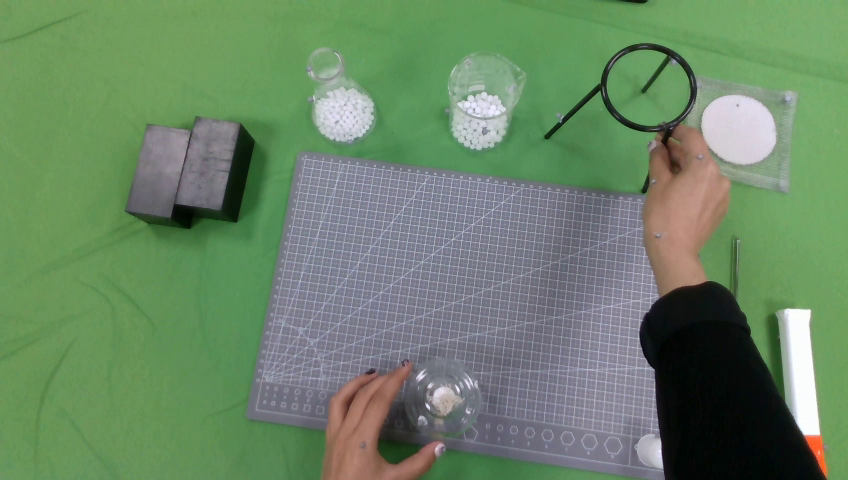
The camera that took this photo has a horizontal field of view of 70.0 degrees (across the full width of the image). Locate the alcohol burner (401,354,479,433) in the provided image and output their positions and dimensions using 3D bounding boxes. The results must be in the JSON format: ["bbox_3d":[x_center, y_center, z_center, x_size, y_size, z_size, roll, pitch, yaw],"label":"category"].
[{"bbox_3d":[0.016,0.148,0.586,0.078,0.119,0.077,0,76,0],"label":"alcohol burner"}]

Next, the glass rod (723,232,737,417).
[{"bbox_3d":[0.329,0.088,0.649,0.008,0.008,0.199,8,79,2],"label":"glass rod"}]

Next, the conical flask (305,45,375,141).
[{"bbox_3d":[-0.095,-0.161,0.648,0.075,0.122,0.075,0,78,1],"label":"conical flask"}]

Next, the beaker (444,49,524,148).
[{"bbox_3d":[0.062,-0.149,0.655,0.084,0.100,0.073,-18,78,-3],"label":"beaker"}]

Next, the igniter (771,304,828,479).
[{"bbox_3d":[0.382,0.203,0.615,0.057,0.025,0.275,3,79,-9],"label":"igniter"}]

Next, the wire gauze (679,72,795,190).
[{"bbox_3d":[0.358,-0.128,0.693,0.125,0.011,0.121,13,80,2],"label":"wire gauze"}]

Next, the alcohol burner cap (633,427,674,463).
[{"bbox_3d":[0.232,0.207,0.606,0.034,0.048,0.033,0,78,1],"label":"alcohol burner cap"}]

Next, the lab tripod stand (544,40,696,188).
[{"bbox_3d":[0.209,-0.133,0.632,0.148,0.132,0.148,0,80,2],"label":"lab tripod stand"}]
